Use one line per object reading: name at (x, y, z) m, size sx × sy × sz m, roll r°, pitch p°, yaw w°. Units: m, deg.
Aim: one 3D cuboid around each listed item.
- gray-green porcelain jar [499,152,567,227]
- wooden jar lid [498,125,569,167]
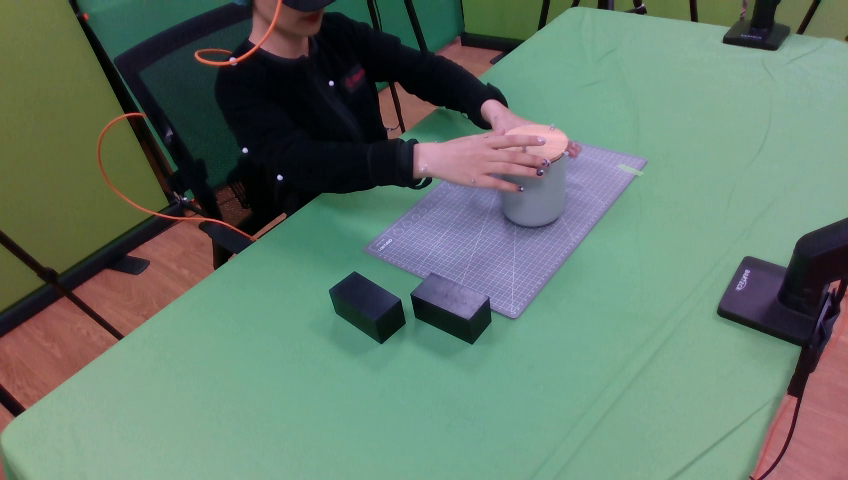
gray-green porcelain jar at (0.177, -0.093, 0.974) m, size 0.106 × 0.127 × 0.105 m, roll -5°, pitch 40°, yaw 5°
wooden jar lid at (0.168, -0.142, 0.933) m, size 0.108 × 0.021 × 0.108 m, roll -5°, pitch 41°, yaw 4°
